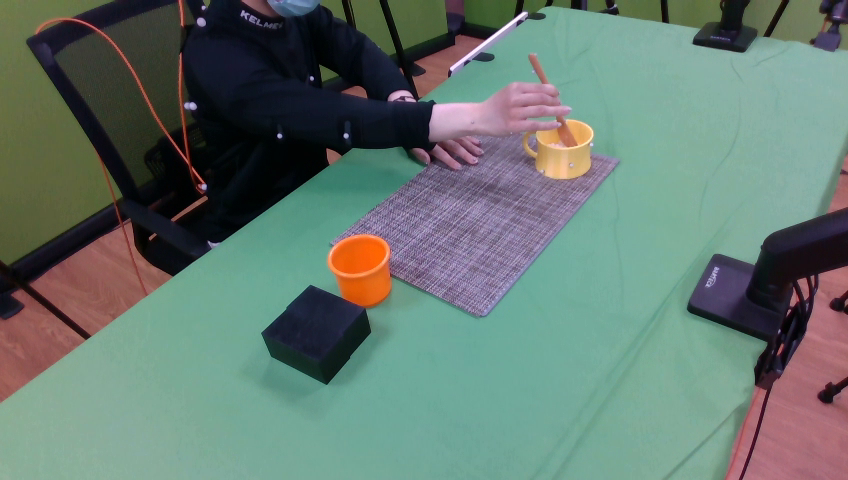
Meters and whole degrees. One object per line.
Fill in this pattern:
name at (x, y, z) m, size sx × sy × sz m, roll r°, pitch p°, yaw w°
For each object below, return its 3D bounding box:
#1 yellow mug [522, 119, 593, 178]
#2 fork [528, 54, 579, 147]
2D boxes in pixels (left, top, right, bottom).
yellow mug at (0.237, -0.169, 1.092) m, size 0.130 × 0.064 × 0.100 m, roll 17°, pitch 46°, yaw 27°
fork at (0.224, -0.236, 1.047) m, size 0.028 × 0.209 × 0.018 m, roll 6°, pitch 50°, yaw 44°
